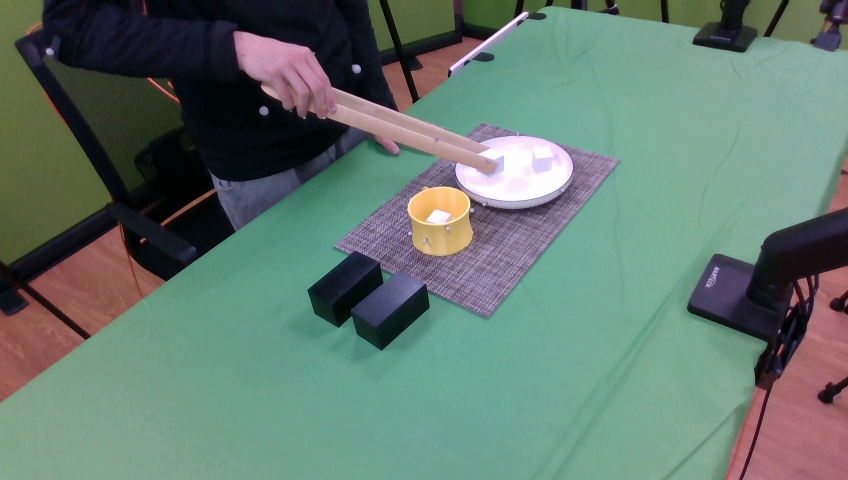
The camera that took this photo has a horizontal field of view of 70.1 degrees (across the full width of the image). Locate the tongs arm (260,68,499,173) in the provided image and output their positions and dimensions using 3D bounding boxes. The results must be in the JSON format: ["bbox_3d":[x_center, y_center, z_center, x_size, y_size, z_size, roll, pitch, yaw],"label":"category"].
[{"bbox_3d":[-0.058,-0.178,0.933,0.387,0.026,0.050,15,34,-23],"label":"tongs arm"}]

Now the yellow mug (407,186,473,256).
[{"bbox_3d":[0.021,-0.041,0.973,0.100,0.064,0.129,-19,41,-12],"label":"yellow mug"}]

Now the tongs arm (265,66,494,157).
[{"bbox_3d":[-0.061,-0.195,0.956,0.390,0.028,0.028,16,37,-20],"label":"tongs arm"}]

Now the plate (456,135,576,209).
[{"bbox_3d":[0.161,-0.116,1.064,0.207,0.039,0.206,-4,40,4],"label":"plate"}]
